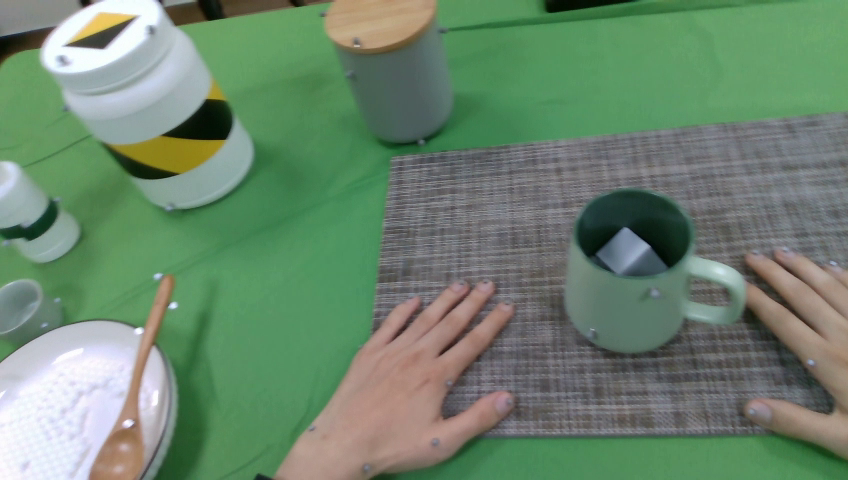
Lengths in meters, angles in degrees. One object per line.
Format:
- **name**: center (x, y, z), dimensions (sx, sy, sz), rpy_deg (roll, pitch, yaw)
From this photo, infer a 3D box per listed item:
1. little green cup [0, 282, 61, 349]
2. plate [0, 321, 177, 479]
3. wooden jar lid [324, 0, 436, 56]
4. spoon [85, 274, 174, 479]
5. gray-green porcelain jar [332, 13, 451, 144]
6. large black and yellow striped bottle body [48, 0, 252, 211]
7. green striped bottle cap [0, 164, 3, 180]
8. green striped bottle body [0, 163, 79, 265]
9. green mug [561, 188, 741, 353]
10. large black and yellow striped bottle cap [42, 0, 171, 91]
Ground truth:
- **little green cup**: center (-0.388, 0.075, 0.585), dimensions (0.061, 0.039, 0.061), rpy_deg (-7, 51, 9)
- **plate**: center (-0.299, 0.165, 0.499), dimensions (0.209, 0.038, 0.207), rpy_deg (-6, 53, 9)
- **wooden jar lid**: center (-0.041, -0.209, 0.580), dimensions (0.108, 0.021, 0.107), rpy_deg (-6, 56, 9)
- **spoon**: center (-0.236, 0.113, 0.503), dimensions (0.041, 0.022, 0.192), rpy_deg (-2, 62, 11)
- **gray-green porcelain jar**: center (-0.029, -0.172, 0.628), dimensions (0.106, 0.128, 0.105), rpy_deg (-6, 53, 9)
- **large black and yellow striped bottle body**: center (-0.272, -0.132, 0.618), dimensions (0.130, 0.186, 0.129), rpy_deg (-6, 53, 9)
- **green striped bottle cap**: center (-0.429, -0.063, 0.579), dimensions (0.044, 0.020, 0.044), rpy_deg (-4, 55, 6)
- **green striped bottle body**: center (-0.419, -0.032, 0.619), dimensions (0.063, 0.120, 0.062), rpy_deg (-7, 53, 9)
- **green mug**: center (0.164, 0.029, 0.445), dimensions (0.124, 0.106, 0.092), rpy_deg (16, 59, 23)
- **large black and yellow striped bottle cap**: center (-0.288, -0.180, 0.551), dimensions (0.115, 0.019, 0.114), rpy_deg (-6, 52, 8)
